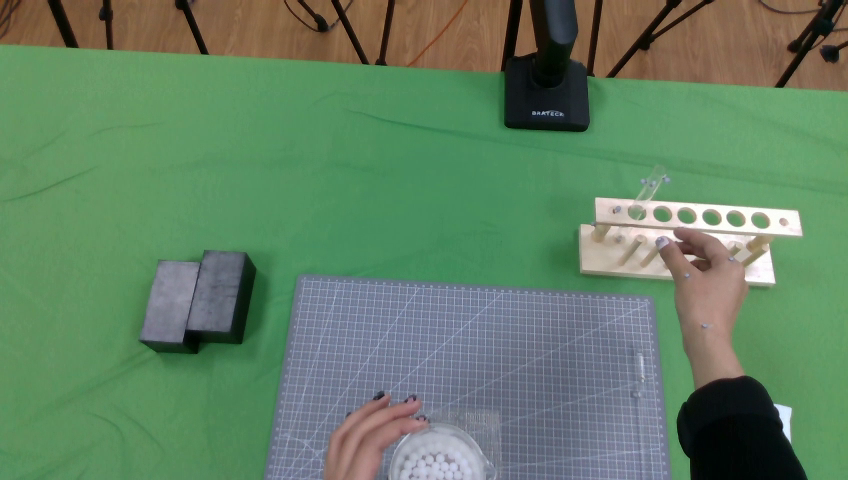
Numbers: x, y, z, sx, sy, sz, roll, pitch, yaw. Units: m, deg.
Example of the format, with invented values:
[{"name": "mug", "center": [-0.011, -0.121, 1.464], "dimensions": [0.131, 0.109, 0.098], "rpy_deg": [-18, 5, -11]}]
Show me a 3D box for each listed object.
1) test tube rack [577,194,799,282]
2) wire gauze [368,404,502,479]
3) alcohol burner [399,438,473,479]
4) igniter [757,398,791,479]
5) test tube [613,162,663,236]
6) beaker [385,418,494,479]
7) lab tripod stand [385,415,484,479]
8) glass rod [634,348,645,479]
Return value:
[{"name": "test tube rack", "center": [0.322, -0.001, 0.753], "dimensions": [0.242, 0.086, 0.066], "rpy_deg": [4, 65, 1]}, {"name": "wire gauze", "center": [0.008, 0.210, 0.550], "dimensions": [0.125, 0.011, 0.120], "rpy_deg": [0, 64, 1]}, {"name": "alcohol burner", "center": [0.013, 0.238, 0.621], "dimensions": [0.078, 0.120, 0.077], "rpy_deg": [1, 64, -2]}, {"name": "igniter", "center": [0.377, 0.309, 0.647], "dimensions": [0.057, 0.025, 0.274], "rpy_deg": [15, 66, -6]}, {"name": "test tube", "center": [0.250, -0.044, 0.717], "dimensions": [0.017, 0.151, 0.017], "rpy_deg": [0, 62, 0]}, {"name": "beaker", "center": [0.012, 0.194, 0.505], "dimensions": [0.084, 0.101, 0.073], "rpy_deg": [-1, 65, -1]}, {"name": "lab tripod stand", "center": [0.008, 0.241, 0.609], "dimensions": [0.148, 0.132, 0.147], "rpy_deg": [0, 65, 1]}, {"name": "glass rod", "center": [0.247, 0.221, 0.691], "dimensions": [0.008, 0.008, 0.198], "rpy_deg": [5, 69, 1]}]
